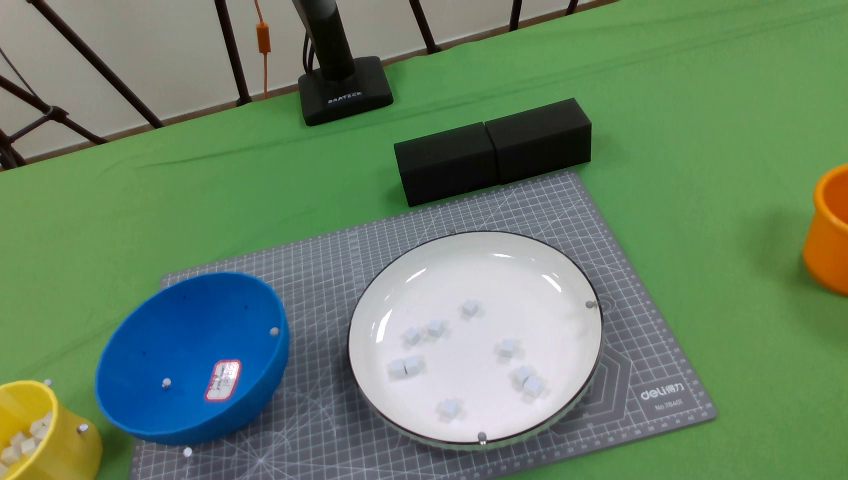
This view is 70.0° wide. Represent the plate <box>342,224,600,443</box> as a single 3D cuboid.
[{"bbox_3d":[0.038,0.072,0.498,0.209,0.038,0.207,-6,46,7],"label":"plate"}]

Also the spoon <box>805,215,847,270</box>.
[{"bbox_3d":[0.379,-0.043,0.454,0.022,0.194,0.041,17,40,-33],"label":"spoon"}]

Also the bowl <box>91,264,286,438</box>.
[{"bbox_3d":[-0.176,0.101,0.494,0.151,0.077,0.150,-7,46,8],"label":"bowl"}]

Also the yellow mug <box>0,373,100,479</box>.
[{"bbox_3d":[-0.327,0.176,0.470,0.099,0.064,0.130,3,49,15],"label":"yellow mug"}]
